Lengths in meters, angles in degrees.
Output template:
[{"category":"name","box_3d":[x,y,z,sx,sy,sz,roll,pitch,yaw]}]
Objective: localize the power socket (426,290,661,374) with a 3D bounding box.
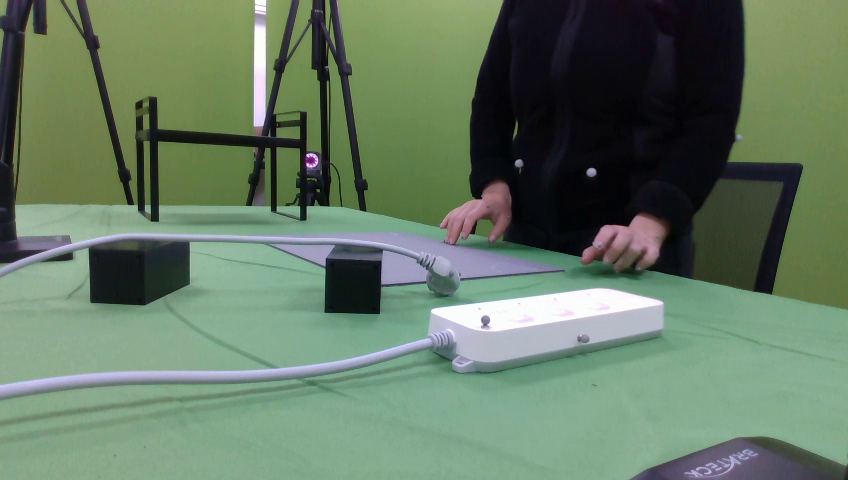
[{"category":"power socket","box_3d":[0.102,0.067,0.483,0.228,0.032,0.072,-3,8,-35]}]

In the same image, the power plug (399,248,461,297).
[{"category":"power plug","box_3d":[0.006,0.031,0.634,0.072,0.035,0.052,36,-33,4]}]
